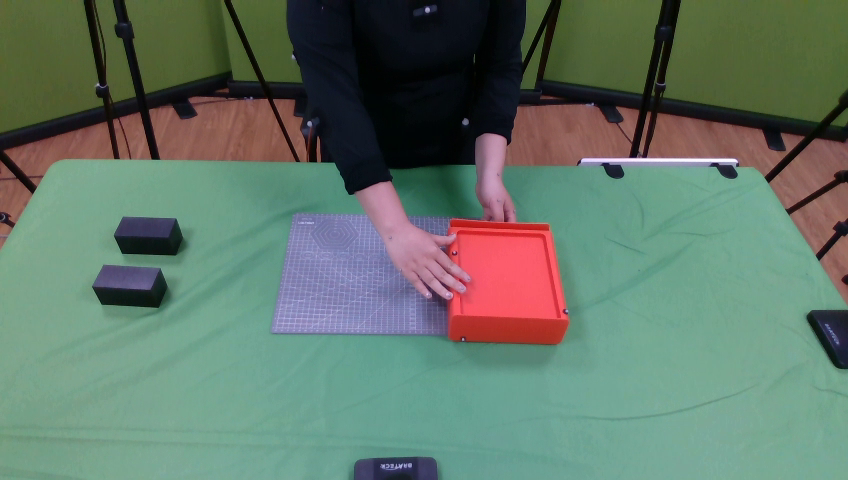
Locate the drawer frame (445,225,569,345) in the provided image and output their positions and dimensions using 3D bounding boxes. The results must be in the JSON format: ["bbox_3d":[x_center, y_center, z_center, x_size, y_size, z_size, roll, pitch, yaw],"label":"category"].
[{"bbox_3d":[0.141,0.077,1.089,0.202,0.083,0.212,2,46,-3],"label":"drawer frame"}]

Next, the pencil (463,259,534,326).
[{"bbox_3d":[0.132,0.092,1.109,0.012,0.012,0.193,-26,51,-26],"label":"pencil"}]

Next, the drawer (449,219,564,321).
[{"bbox_3d":[0.141,0.061,1.105,0.194,0.073,0.210,3,47,-3],"label":"drawer"}]
